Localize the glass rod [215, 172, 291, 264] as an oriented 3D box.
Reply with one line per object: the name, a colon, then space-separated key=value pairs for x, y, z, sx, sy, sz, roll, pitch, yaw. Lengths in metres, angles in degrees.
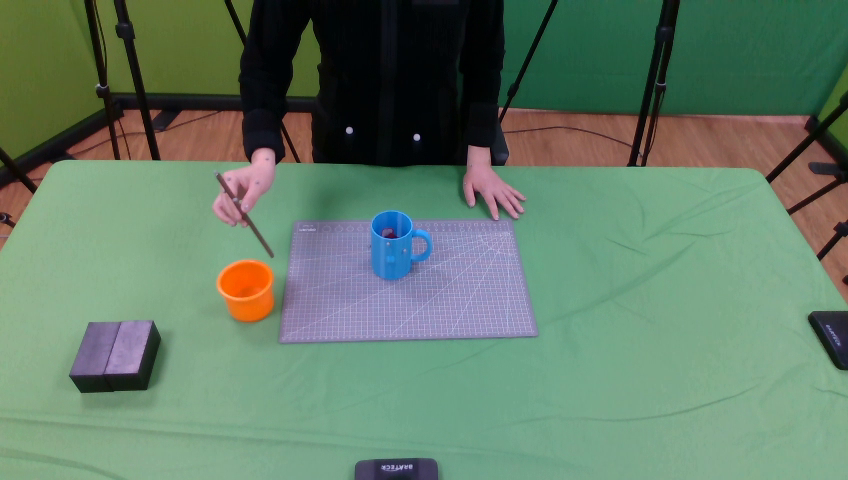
glass rod: x=-0.275 y=-0.032 z=0.985 sx=0.008 sy=0.201 sz=0.008 roll=-22 pitch=34 yaw=15

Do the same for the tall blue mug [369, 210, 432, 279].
tall blue mug: x=-0.048 y=0.005 z=1.125 sx=0.107 sy=0.108 sz=0.077 roll=-19 pitch=50 yaw=-21
